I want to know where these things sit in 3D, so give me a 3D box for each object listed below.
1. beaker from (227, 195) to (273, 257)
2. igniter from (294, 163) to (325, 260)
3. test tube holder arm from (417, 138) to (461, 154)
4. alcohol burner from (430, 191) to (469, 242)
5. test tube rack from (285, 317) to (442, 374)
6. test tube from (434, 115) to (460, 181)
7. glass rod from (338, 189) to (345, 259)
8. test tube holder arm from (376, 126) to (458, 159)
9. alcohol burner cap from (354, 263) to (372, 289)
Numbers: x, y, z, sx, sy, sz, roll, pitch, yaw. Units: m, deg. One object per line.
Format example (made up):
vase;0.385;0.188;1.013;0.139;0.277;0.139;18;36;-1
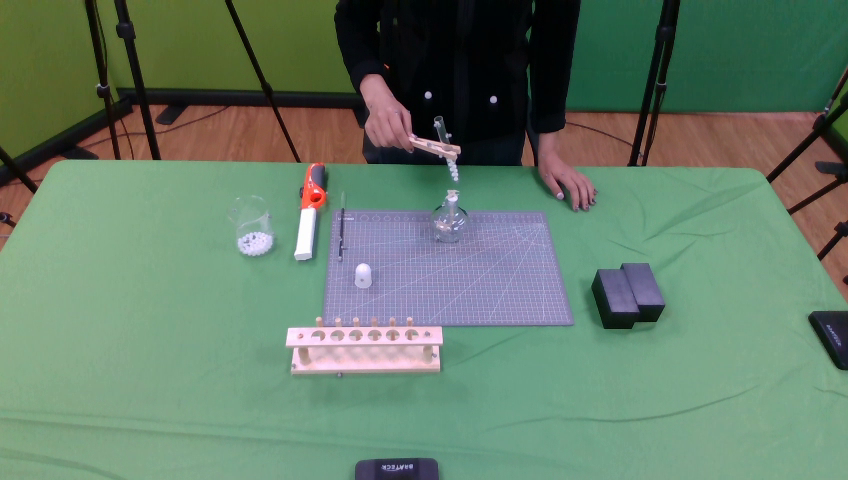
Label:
beaker;-0.326;-0.022;1.142;0.074;0.101;0.083;10;47;6
igniter;-0.234;-0.067;1.243;0.057;0.025;0.274;-6;46;4
test tube holder arm;0.026;-0.171;1.095;0.087;0.015;0.010;14;55;22
alcohol burner;0.051;-0.053;1.185;0.078;0.119;0.077;2;48;-2
test tube rack;-0.095;0.166;0.988;0.242;0.085;0.066;0;46;-4
test tube;0.044;-0.161;1.082;0.017;0.151;0.017;-9;49;11
glass rod;-0.166;-0.036;1.227;0.008;0.008;0.198;0;46;-4
test tube holder arm;-0.015;-0.180;1.111;0.177;0.015;0.013;21;57;26
alcohol burner cap;-0.113;0.063;1.111;0.034;0.048;0.033;2;45;-2
